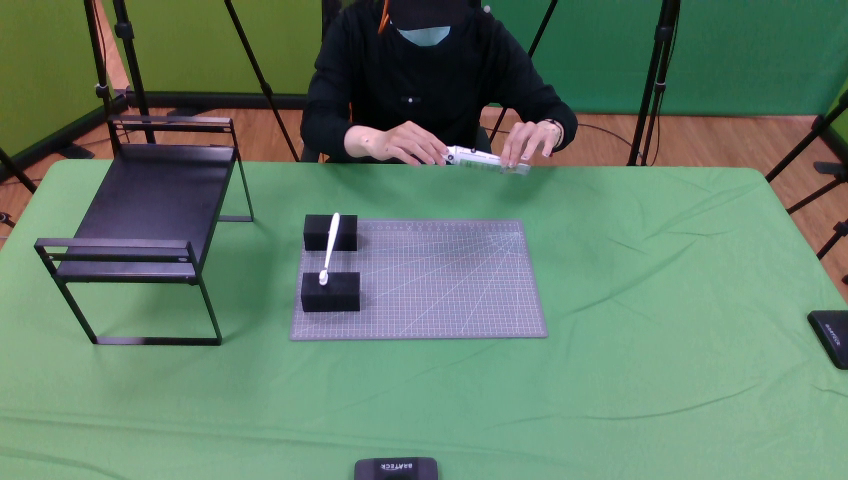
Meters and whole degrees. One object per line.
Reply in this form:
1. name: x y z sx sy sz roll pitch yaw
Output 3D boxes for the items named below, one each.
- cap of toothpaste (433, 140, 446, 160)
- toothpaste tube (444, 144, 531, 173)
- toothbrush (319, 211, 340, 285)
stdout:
1. cap of toothpaste: 0.029 -0.167 1.121 0.011 0.037 0.037 1 43 -32
2. toothpaste tube: 0.114 -0.150 1.122 0.165 0.055 0.034 11 83 1
3. toothbrush: -0.172 0.009 1.103 0.014 0.017 0.180 -5 44 8
